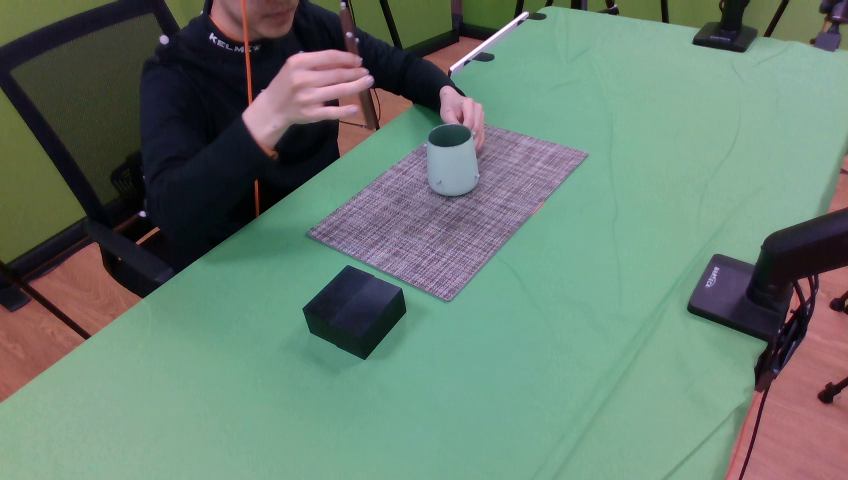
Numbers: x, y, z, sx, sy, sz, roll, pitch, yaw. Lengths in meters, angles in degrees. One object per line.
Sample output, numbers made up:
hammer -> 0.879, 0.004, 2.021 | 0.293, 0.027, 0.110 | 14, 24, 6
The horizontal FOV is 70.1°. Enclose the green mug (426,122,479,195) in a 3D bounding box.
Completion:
green mug -> 0.053, -0.151, 1.067 | 0.092, 0.105, 0.125 | 5, 42, 15

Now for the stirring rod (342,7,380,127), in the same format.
stirring rod -> -0.085, -0.233, 0.834 | 0.014, 0.177, 0.005 | -34, 45, -23
